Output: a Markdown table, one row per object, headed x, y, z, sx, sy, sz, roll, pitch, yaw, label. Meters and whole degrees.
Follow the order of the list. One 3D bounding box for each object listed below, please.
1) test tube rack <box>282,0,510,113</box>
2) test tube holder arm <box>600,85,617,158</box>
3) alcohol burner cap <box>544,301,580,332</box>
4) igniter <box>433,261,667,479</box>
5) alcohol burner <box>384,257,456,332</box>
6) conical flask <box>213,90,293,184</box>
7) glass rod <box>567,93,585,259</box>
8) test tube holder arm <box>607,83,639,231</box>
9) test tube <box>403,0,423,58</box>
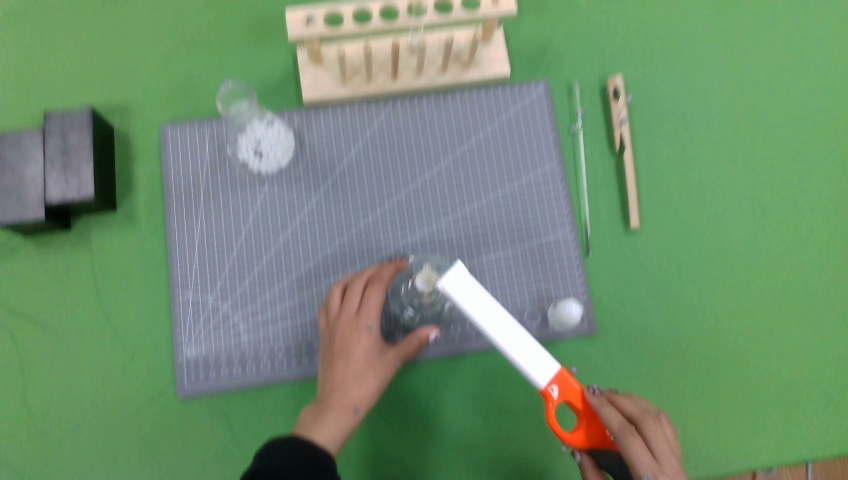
| x | y | z | sx | sy | sz | roll | pitch | yaw | label |
| --- | --- | --- | --- | --- | --- | --- | --- | --- | --- |
| -0.028 | -0.207 | 0.684 | 0.242 | 0.085 | 0.066 | -9 | 78 | -5 | test tube rack |
| 0.221 | -0.141 | 0.716 | 0.010 | 0.015 | 0.087 | -13 | 77 | 30 | test tube holder arm |
| 0.150 | 0.080 | 0.648 | 0.034 | 0.048 | 0.033 | 1 | 76 | -2 | alcohol burner cap |
| 0.113 | 0.128 | 0.527 | 0.057 | 0.025 | 0.276 | -44 | 90 | -16 | igniter |
| -0.003 | 0.052 | 0.611 | 0.078 | 0.119 | 0.077 | 0 | 76 | 0 | alcohol burner |
| -0.183 | -0.111 | 0.633 | 0.075 | 0.122 | 0.075 | 1 | 77 | -2 | conical flask |
| 0.176 | -0.076 | 0.704 | 0.008 | 0.008 | 0.199 | -1 | 80 | -3 | glass rod |
| 0.230 | -0.098 | 0.705 | 0.013 | 0.015 | 0.177 | -14 | 77 | 30 | test tube holder arm |
| -0.010 | -0.239 | 0.641 | 0.017 | 0.151 | 0.017 | 1 | 74 | -5 | test tube |
